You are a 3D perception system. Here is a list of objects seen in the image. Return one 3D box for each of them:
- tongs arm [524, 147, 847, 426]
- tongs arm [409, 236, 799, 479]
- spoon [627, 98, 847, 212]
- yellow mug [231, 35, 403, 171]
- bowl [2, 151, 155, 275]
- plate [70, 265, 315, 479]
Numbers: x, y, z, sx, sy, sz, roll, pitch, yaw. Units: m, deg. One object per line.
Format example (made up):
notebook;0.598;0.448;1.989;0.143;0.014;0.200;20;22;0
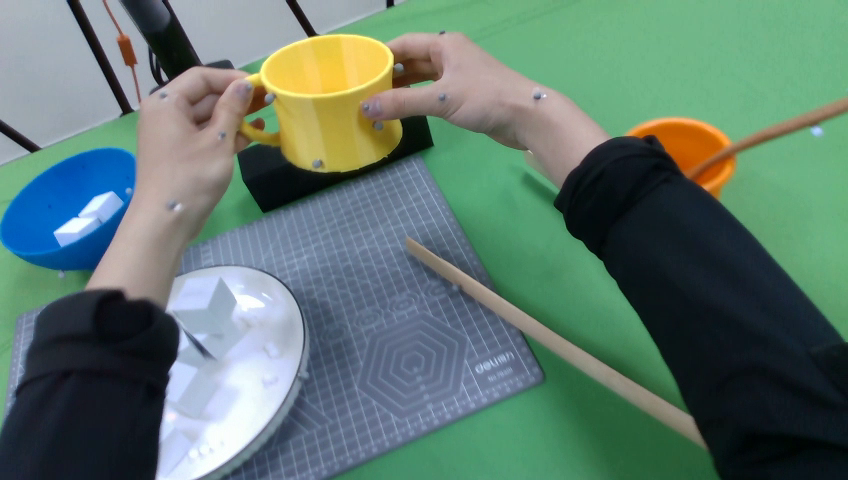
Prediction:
tongs arm;0.189;0.037;0.477;0.051;0.027;0.380;-34;51;-14
tongs arm;0.128;0.084;0.456;0.384;0.028;0.028;31;61;33
spoon;0.237;-0.064;0.471;0.022;0.193;0.041;37;58;-12
yellow mug;-0.085;-0.106;0.474;0.131;0.064;0.099;-9;43;-3
bowl;-0.346;-0.015;0.642;0.151;0.077;0.150;-8;49;10
plate;-0.188;0.113;0.511;0.207;0.039;0.205;-8;49;9
